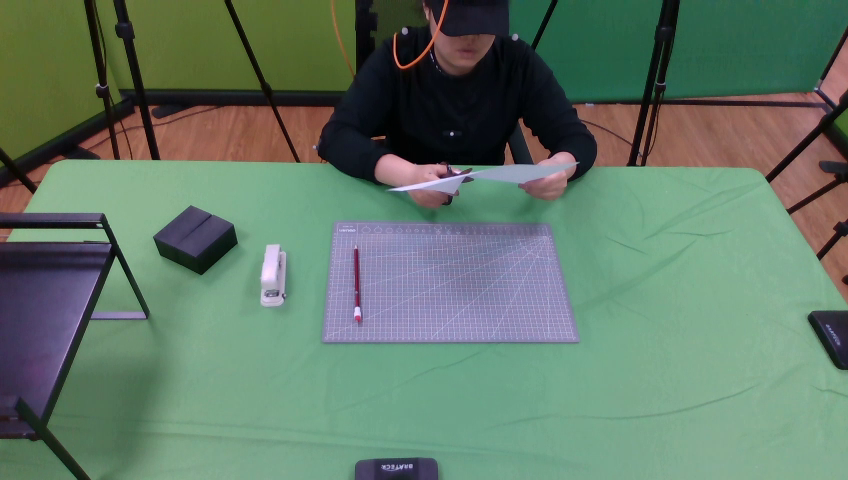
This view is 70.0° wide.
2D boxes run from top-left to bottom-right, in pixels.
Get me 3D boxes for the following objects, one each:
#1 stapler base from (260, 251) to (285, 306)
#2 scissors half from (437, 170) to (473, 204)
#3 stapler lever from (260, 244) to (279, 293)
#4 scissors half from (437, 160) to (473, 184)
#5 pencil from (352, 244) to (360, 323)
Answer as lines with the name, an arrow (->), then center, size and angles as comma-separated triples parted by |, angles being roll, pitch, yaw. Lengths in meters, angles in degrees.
stapler base -> -0.279, 0.064, 1.113 | 0.041, 0.024, 0.129 | -1, 44, -9
scissors half -> 0.060, -0.105, 1.177 | 0.013, 0.175, 0.040 | -4, 78, -20
stapler lever -> -0.279, 0.045, 1.096 | 0.027, 0.040, 0.117 | -2, 44, -9
scissors half -> 0.061, -0.128, 1.177 | 0.013, 0.040, 0.174 | 1, 14, -20
pencil -> -0.127, 0.075, 1.119 | 0.012, 0.012, 0.192 | -2, 44, -7
